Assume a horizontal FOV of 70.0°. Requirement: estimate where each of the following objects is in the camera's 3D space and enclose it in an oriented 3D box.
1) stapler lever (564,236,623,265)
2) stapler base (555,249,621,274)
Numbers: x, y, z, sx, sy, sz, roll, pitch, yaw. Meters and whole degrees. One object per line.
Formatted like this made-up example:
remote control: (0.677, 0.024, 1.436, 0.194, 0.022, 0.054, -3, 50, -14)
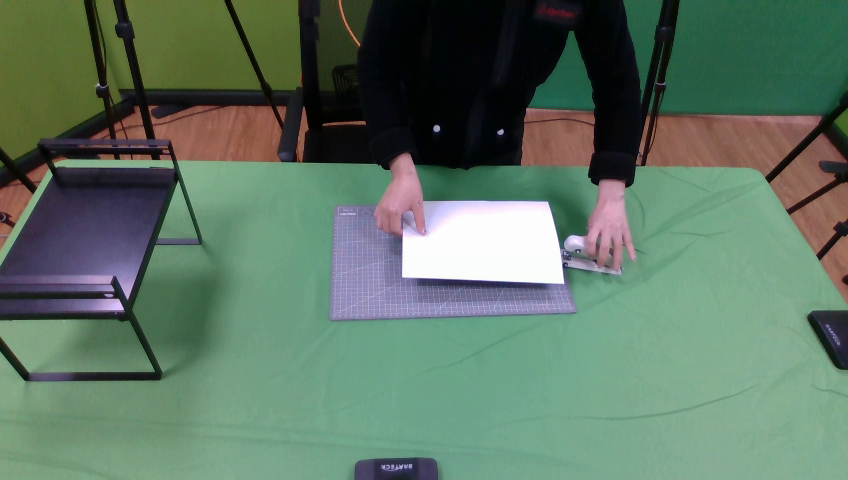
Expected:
stapler lever: (0.327, 0.019, 1.162, 0.118, 0.040, 0.026, 10, 50, -3)
stapler base: (0.322, 0.036, 1.180, 0.130, 0.024, 0.041, 10, 50, -2)
